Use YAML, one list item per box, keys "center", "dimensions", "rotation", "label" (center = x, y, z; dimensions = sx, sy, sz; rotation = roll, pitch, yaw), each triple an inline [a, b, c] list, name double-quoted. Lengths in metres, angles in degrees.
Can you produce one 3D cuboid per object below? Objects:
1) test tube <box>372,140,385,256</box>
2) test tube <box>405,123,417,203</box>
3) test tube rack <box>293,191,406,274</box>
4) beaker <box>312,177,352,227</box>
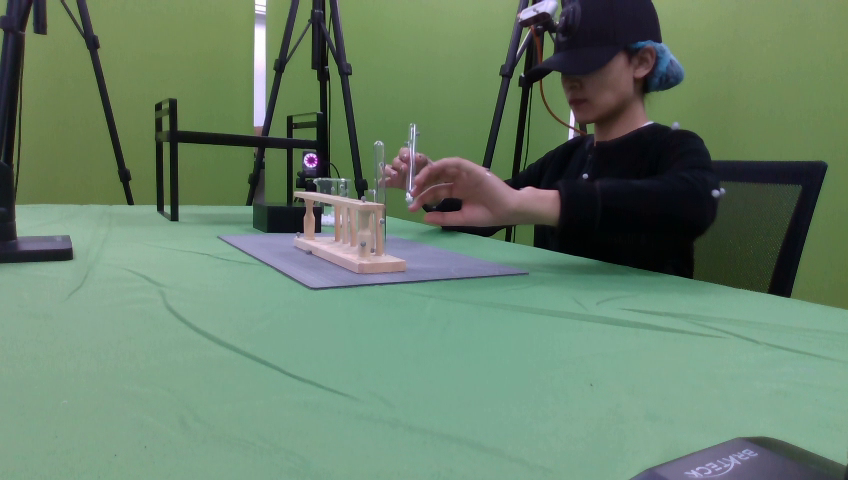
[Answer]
- center: [-0.058, -0.053, 0.781]
  dimensions: [0.017, 0.150, 0.017]
  rotation: [0, 5, 0]
  label: "test tube"
- center: [-0.023, -0.134, 1.040]
  dimensions: [0.017, 0.150, 0.017]
  rotation: [2, -20, 1]
  label: "test tube"
- center: [-0.110, -0.017, 0.836]
  dimensions: [0.067, 0.085, 0.241]
  rotation: [-2, 9, -30]
  label: "test tube rack"
- center: [-0.194, -0.081, 1.266]
  dimensions: [0.084, 0.100, 0.073]
  rotation: [-3, 9, -29]
  label: "beaker"
